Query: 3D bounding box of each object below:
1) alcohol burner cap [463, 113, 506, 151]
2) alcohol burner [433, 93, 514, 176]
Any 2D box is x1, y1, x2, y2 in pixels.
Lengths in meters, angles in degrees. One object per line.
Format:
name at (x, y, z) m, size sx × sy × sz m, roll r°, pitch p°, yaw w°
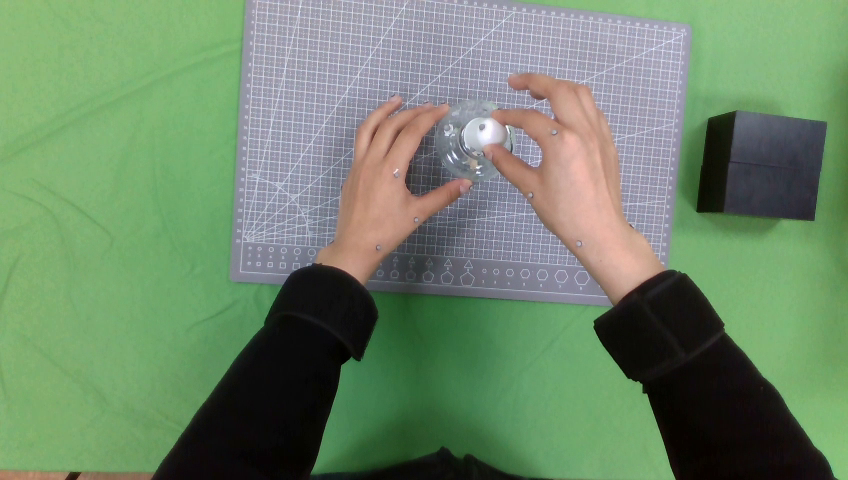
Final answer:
alcohol burner cap at (0.054, -0.093, 0.522) m, size 0.034 × 0.047 × 0.034 m, roll -1°, pitch 99°, yaw -7°
alcohol burner at (0.050, -0.098, 0.558) m, size 0.078 × 0.118 × 0.078 m, roll -1°, pitch 95°, yaw -8°
